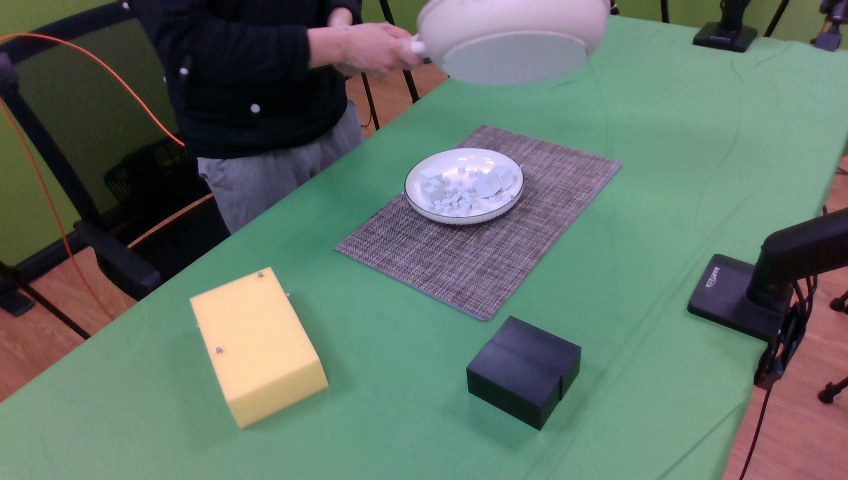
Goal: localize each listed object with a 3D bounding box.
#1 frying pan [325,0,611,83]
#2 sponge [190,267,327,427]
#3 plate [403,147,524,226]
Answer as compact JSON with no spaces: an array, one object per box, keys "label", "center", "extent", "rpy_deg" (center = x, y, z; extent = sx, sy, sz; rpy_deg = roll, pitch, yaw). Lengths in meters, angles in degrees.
[{"label":"frying pan","center":[0.047,-0.319,0.979],"extent":[0.485,0.102,0.309],"rpy_deg":[6,1,26]},{"label":"sponge","center":[-0.226,0.135,0.814],"extent":[0.119,0.061,0.205],"rpy_deg":[-23,43,-19]},{"label":"plate","center":[0.069,-0.089,1.044],"extent":[0.207,0.039,0.206],"rpy_deg":[-4,41,4]}]
